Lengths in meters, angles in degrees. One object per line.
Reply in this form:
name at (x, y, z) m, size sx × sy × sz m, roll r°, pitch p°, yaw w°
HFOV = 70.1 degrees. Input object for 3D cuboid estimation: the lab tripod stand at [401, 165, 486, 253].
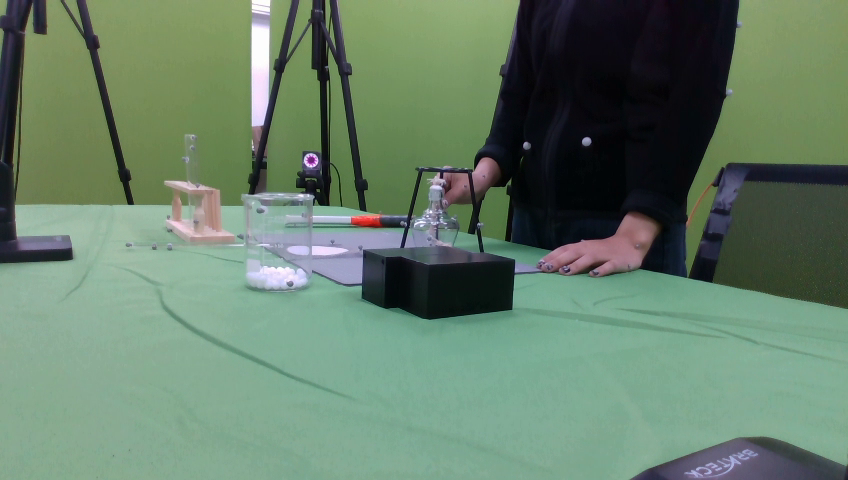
lab tripod stand at (0.028, -0.049, 0.930) m, size 0.148 × 0.131 × 0.148 m, roll 2°, pitch 9°, yaw 0°

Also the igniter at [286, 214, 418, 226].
igniter at (-0.145, -0.043, 1.263) m, size 0.278 × 0.025 × 0.057 m, roll -1°, pitch -2°, yaw -24°

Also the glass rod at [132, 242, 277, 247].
glass rod at (-0.316, 0.007, 0.885) m, size 0.201 × 0.008 × 0.008 m, roll 0°, pitch 7°, yaw -27°

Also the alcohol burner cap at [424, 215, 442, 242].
alcohol burner cap at (0.017, -0.022, 1.098) m, size 0.034 × 0.048 × 0.034 m, roll 2°, pitch 9°, yaw 0°

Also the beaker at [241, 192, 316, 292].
beaker at (-0.157, 0.000, 0.642) m, size 0.084 × 0.100 × 0.074 m, roll 4°, pitch 7°, yaw 19°

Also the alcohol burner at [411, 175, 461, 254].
alcohol burner at (0.018, -0.040, 0.931) m, size 0.078 × 0.119 × 0.078 m, roll 0°, pitch 6°, yaw 0°

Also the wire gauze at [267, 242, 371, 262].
wire gauze at (-0.155, 0.014, 0.877) m, size 0.122 × 0.011 × 0.124 m, roll -3°, pitch 10°, yaw -29°

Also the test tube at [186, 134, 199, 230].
test tube at (-0.360, -0.089, 0.946) m, size 0.017 × 0.150 × 0.017 m, roll 0°, pitch 10°, yaw 0°

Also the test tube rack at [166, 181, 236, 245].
test tube rack at (-0.383, -0.051, 1.024) m, size 0.067 × 0.085 × 0.241 m, roll -2°, pitch 9°, yaw -31°
